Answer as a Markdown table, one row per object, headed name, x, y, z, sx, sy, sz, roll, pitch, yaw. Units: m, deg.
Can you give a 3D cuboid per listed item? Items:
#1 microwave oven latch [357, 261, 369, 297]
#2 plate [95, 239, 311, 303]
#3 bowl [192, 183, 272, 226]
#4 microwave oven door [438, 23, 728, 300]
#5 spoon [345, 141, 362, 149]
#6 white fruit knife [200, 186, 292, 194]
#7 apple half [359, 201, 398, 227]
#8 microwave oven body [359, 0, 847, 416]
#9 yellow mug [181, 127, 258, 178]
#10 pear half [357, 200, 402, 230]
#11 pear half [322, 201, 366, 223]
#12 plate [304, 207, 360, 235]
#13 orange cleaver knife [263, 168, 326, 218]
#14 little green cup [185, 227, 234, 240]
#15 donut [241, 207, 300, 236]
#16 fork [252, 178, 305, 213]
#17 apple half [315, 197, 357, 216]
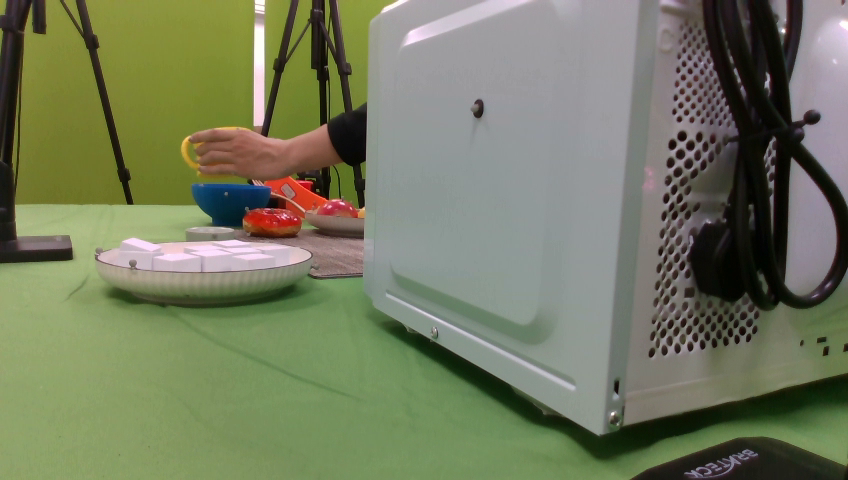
| name | x | y | z | sx | sy | sz | roll | pitch | yaw |
| --- | --- | --- | --- | --- | --- | --- | --- | --- | --- |
| microwave oven latch | -0.019 | 0.033 | 0.530 | 0.079 | 0.029 | 0.030 | -1 | 7 | -26 |
| plate | -0.224 | 0.031 | 0.629 | 0.208 | 0.039 | 0.207 | 2 | 8 | 0 |
| bowl | -0.382 | -0.070 | 1.202 | 0.151 | 0.077 | 0.151 | 3 | 7 | 0 |
| microwave oven door | 0.181 | -0.073 | 0.621 | 0.358 | 0.243 | 0.039 | -2 | 8 | -29 |
| spoon | -0.117 | -0.229 | 1.376 | 0.041 | 0.021 | 0.194 | -1 | 18 | 28 |
| white fruit knife | -0.399 | -0.111 | 1.368 | 0.208 | 0.016 | 0.027 | -4 | -19 | -30 |
| apple half | -0.088 | -0.058 | 1.190 | 0.081 | 0.033 | 0.081 | 9 | 29 | -5 |
| microwave oven body | 0.211 | -0.047 | 0.474 | 0.444 | 0.260 | 0.324 | -1 | 7 | -28 |
| yellow mug | -0.347 | -0.145 | 1.014 | 0.099 | 0.064 | 0.131 | -12 | -1 | 36 |
| pear half | -0.075 | -0.046 | 1.133 | 0.076 | 0.056 | 0.110 | 12 | 7 | 31 |
| pear half | -0.157 | -0.059 | 1.197 | 0.088 | 0.031 | 0.070 | 12 | 30 | -4 |
| plate | -0.123 | -0.037 | 1.149 | 0.209 | 0.038 | 0.209 | 2 | 7 | 0 |
| orange cleaver knife | -0.263 | -0.087 | 1.353 | 0.211 | 0.077 | 0.012 | 28 | 13 | -1 |
| little green cup | -0.285 | 0.005 | 0.805 | 0.061 | 0.038 | 0.061 | 2 | 8 | 0 |
| donut | -0.263 | -0.031 | 1.039 | 0.099 | 0.048 | 0.099 | 5 | 9 | 0 |
| fork | -0.295 | -0.084 | 1.292 | 0.206 | 0.018 | 0.028 | 29 | 9 | 25 |
| apple half | -0.162 | -0.052 | 1.121 | 0.081 | 0.053 | 0.074 | 5 | 7 | -14 |
